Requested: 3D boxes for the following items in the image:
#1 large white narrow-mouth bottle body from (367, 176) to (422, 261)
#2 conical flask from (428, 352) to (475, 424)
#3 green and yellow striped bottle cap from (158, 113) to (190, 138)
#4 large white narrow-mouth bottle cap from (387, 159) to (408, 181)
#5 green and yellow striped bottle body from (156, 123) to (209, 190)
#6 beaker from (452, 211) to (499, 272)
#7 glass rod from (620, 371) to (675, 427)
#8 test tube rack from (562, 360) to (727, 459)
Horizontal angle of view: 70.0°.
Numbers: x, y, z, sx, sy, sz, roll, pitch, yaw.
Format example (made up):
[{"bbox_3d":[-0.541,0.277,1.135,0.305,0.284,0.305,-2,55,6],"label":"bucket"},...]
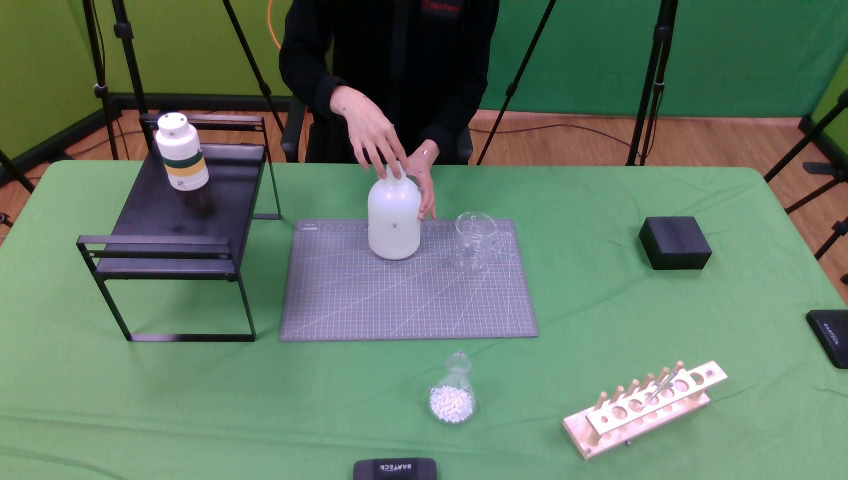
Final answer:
[{"bbox_3d":[-0.055,-0.058,1.127,0.102,0.195,0.101,3,45,-3],"label":"large white narrow-mouth bottle body"},{"bbox_3d":[0.046,0.220,0.920,0.075,0.122,0.075,2,46,-2],"label":"conical flask"},{"bbox_3d":[-0.393,-0.180,0.951,0.045,0.020,0.045,2,44,-2],"label":"green and yellow striped bottle cap"},{"bbox_3d":[-0.047,-0.122,1.063,0.038,0.024,0.037,3,45,-3],"label":"large white narrow-mouth bottle cap"},{"bbox_3d":[-0.395,-0.145,0.989,0.063,0.120,0.063,2,46,-2],"label":"green and yellow striped bottle body"},{"bbox_3d":[0.093,0.006,1.141,0.084,0.101,0.073,8,47,3],"label":"beaker"},{"bbox_3d":[0.316,0.230,0.863,0.008,0.200,0.008,3,54,-3],"label":"glass rod"},{"bbox_3d":[0.341,0.247,0.940,0.243,0.085,0.066,-16,49,-18],"label":"test tube rack"}]
